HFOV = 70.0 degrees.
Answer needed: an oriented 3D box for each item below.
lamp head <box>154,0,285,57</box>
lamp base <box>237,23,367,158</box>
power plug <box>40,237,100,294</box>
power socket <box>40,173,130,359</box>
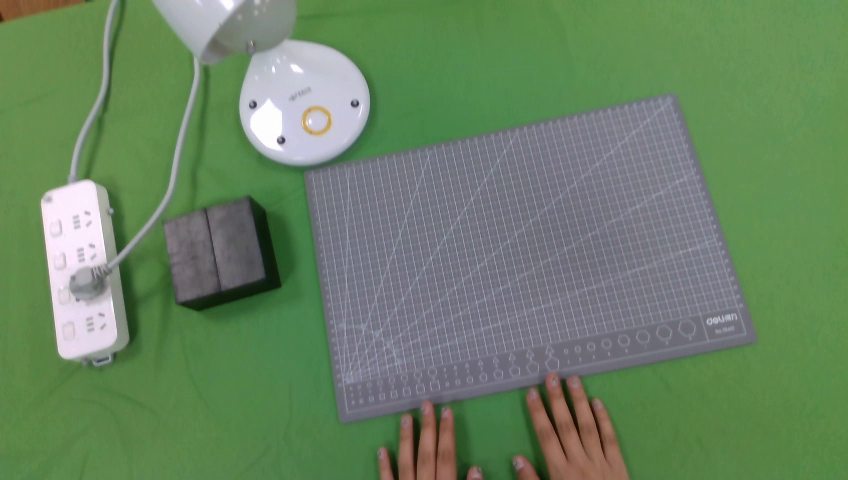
[{"bbox_3d":[-0.138,-0.195,0.375,0.112,0.112,0.123,-43,100,-6],"label":"lamp head"},{"bbox_3d":[-0.164,-0.203,0.667,0.160,0.181,0.178,-40,73,-6],"label":"lamp base"},{"bbox_3d":[-0.392,0.028,0.680,0.035,0.053,0.072,-28,69,-20],"label":"power plug"},{"bbox_3d":[-0.395,0.026,0.704,0.072,0.033,0.225,-16,74,-1],"label":"power socket"}]
